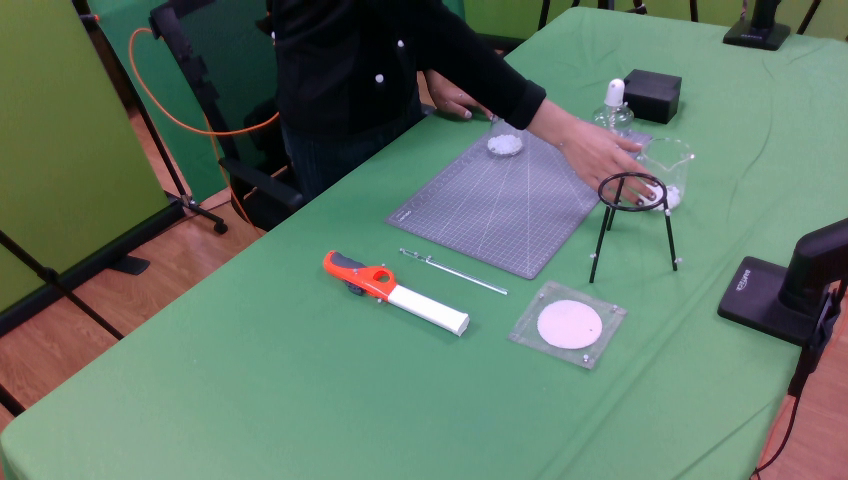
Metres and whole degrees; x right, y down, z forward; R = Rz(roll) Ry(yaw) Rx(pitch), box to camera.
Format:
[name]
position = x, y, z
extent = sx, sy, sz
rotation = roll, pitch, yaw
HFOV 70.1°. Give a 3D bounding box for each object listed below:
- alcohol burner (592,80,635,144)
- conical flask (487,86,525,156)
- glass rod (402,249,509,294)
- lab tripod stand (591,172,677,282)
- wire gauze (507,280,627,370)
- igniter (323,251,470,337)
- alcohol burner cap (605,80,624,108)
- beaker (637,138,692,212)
[alcohol burner]
position = 0.353, -0.242, 1.126
extent = 0.078, 0.119, 0.077
rotation = -5, 38, 5
[conical flask]
position = 0.152, -0.226, 1.140
extent = 0.075, 0.122, 0.075
rotation = -5, 40, 5
[glass rod]
position = 0.045, 0.046, 0.931
extent = 0.198, 0.008, 0.008
rotation = 20, 49, 31
[lab tripod stand]
position = 0.292, -0.022, 0.867
extent = 0.148, 0.132, 0.147
rotation = -7, 39, 6
[wire gauze]
position = 0.196, 0.114, 0.823
extent = 0.120, 0.011, 0.125
rotation = 20, 50, 31
[igniter]
position = -0.052, 0.075, 0.901
extent = 0.274, 0.025, 0.057
rotation = 22, 60, 32
[alcohol burner cap]
position = 0.350, -0.268, 1.102
extent = 0.034, 0.048, 0.033
rotation = -2, 45, 3
[beaker]
position = 0.383, -0.101, 0.970
extent = 0.074, 0.101, 0.084
rotation = 2, 42, 14
